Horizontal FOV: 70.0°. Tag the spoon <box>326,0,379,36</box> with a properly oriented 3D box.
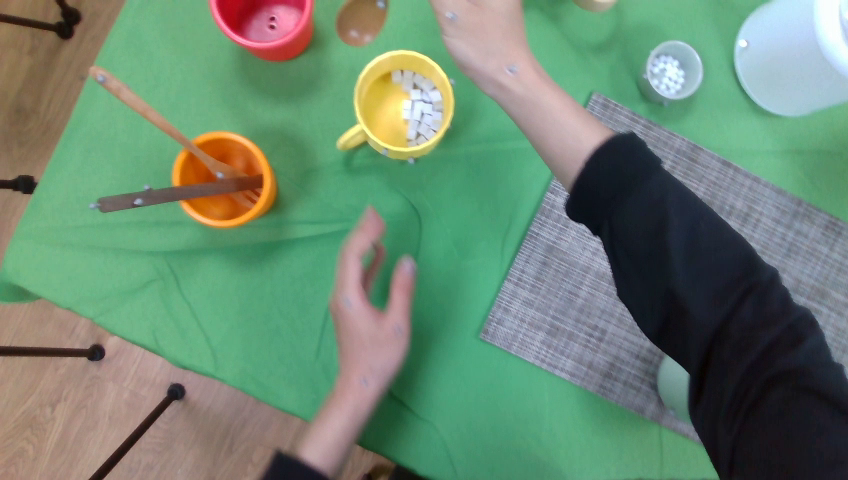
[{"bbox_3d":[-0.024,-0.215,0.455,0.042,0.193,0.021,13,69,-28],"label":"spoon"}]

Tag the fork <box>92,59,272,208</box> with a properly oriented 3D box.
[{"bbox_3d":[-0.221,-0.095,0.574,0.028,0.018,0.209,-48,137,-4],"label":"fork"}]

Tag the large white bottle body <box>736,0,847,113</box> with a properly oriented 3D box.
[{"bbox_3d":[0.419,-0.207,0.601,0.131,0.184,0.130,0,91,-3],"label":"large white bottle body"}]

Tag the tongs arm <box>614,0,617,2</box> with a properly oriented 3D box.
[{"bbox_3d":[0.141,-0.432,0.617,0.028,0.028,0.387,-21,91,-9],"label":"tongs arm"}]

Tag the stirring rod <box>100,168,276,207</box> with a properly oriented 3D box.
[{"bbox_3d":[-0.219,-0.052,0.582,0.177,0.006,0.014,-17,95,-45],"label":"stirring rod"}]

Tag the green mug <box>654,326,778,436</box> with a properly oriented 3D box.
[{"bbox_3d":[0.316,0.140,0.641,0.092,0.105,0.125,43,88,-3],"label":"green mug"}]

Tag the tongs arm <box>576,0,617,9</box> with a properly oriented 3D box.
[{"bbox_3d":[0.069,-0.390,0.611,0.051,0.026,0.385,-35,92,-6],"label":"tongs arm"}]

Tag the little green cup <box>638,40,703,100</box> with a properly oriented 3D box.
[{"bbox_3d":[0.267,-0.183,0.664,0.061,0.038,0.061,0,92,-3],"label":"little green cup"}]

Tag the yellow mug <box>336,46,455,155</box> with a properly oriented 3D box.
[{"bbox_3d":[-0.034,-0.134,0.629,0.131,0.064,0.100,-31,94,-2],"label":"yellow mug"}]
